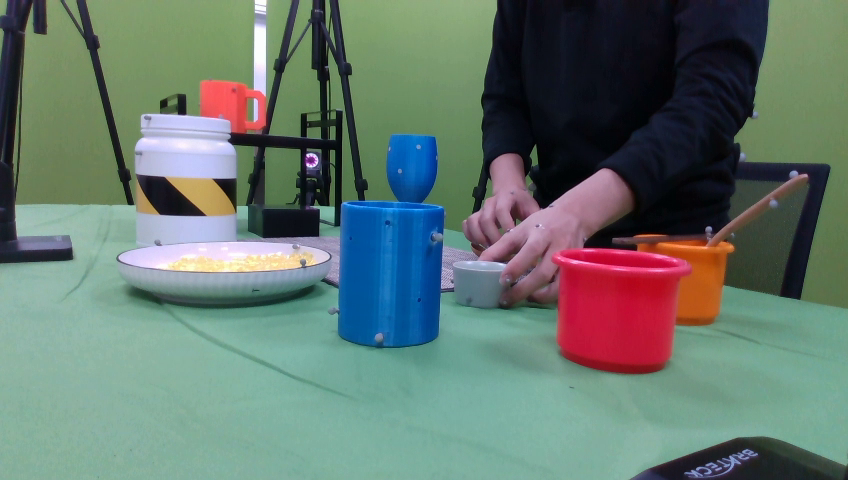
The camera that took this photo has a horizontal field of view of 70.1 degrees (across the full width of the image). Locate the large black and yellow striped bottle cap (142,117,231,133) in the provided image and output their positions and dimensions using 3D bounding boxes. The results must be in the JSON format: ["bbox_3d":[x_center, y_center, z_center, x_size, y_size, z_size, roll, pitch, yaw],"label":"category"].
[{"bbox_3d":[-0.328,-0.159,0.839,0.115,0.019,0.115,1,9,0],"label":"large black and yellow striped bottle cap"}]

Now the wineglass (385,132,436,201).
[{"bbox_3d":[-0.020,-0.061,0.838,0.074,0.172,0.073,2,7,0],"label":"wineglass"}]

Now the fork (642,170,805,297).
[{"bbox_3d":[0.261,0.004,0.545,0.028,0.018,0.207,5,-37,-15],"label":"fork"}]

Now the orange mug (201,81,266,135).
[{"bbox_3d":[-0.377,-0.259,1.197,0.126,0.101,0.083,-2,7,-6],"label":"orange mug"}]

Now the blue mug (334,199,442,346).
[{"bbox_3d":[-0.034,0.020,0.498,0.083,0.106,0.116,0,7,-20],"label":"blue mug"}]

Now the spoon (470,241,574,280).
[{"bbox_3d":[0.125,0.025,0.800,0.042,0.021,0.192,26,-7,-34],"label":"spoon"}]

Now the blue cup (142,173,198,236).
[{"bbox_3d":[-0.425,-0.060,1.014,0.093,0.100,0.092,4,9,0],"label":"blue cup"}]

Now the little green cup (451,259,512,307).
[{"bbox_3d":[0.057,0.043,0.612,0.061,0.038,0.061,4,8,0],"label":"little green cup"}]

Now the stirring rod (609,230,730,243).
[{"bbox_3d":[0.241,-0.004,0.582,0.177,0.006,0.014,-4,10,-33],"label":"stirring rod"}]

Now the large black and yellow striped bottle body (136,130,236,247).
[{"bbox_3d":[-0.332,-0.076,0.851,0.131,0.184,0.130,3,8,0],"label":"large black and yellow striped bottle body"}]

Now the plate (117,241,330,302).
[{"bbox_3d":[-0.203,0.031,0.630,0.209,0.038,0.209,3,7,0],"label":"plate"}]
